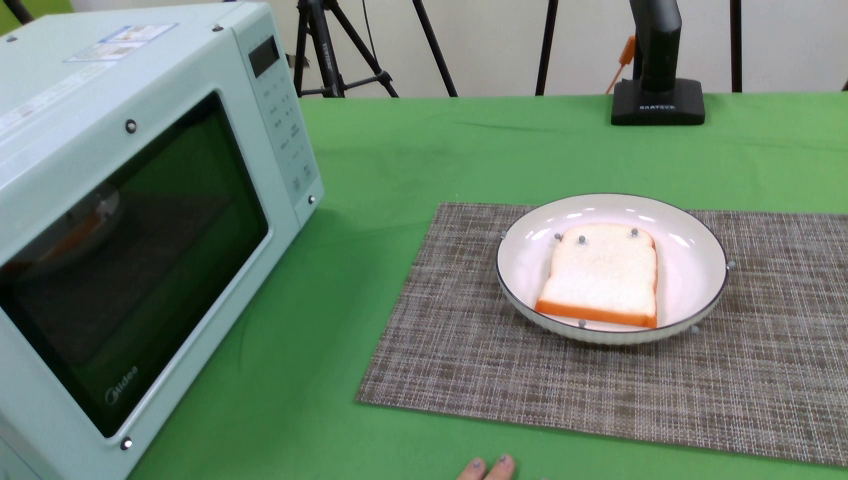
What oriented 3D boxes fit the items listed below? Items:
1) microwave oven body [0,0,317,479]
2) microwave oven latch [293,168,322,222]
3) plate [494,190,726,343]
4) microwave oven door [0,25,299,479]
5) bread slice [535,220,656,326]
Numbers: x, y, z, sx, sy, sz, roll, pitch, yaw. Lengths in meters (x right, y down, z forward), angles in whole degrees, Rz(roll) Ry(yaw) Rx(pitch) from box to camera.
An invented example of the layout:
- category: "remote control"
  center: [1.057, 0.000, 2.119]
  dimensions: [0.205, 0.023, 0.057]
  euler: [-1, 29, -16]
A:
- category: "microwave oven body"
  center: [-0.352, -0.028, 0.586]
  dimensions: [0.325, 0.263, 0.438]
  euler: [4, 40, 17]
- category: "microwave oven latch"
  center: [-0.150, -0.055, 0.733]
  dimensions: [0.030, 0.030, 0.078]
  euler: [5, 41, 17]
- category: "plate"
  center: [0.172, 0.024, 0.581]
  dimensions: [0.209, 0.038, 0.207]
  euler: [-6, 38, 5]
- category: "microwave oven door"
  center: [-0.225, 0.001, 0.510]
  dimensions: [0.039, 0.246, 0.353]
  euler: [3, 39, 17]
- category: "bread slice"
  center: [0.169, 0.026, 0.583]
  dimensions: [0.104, 0.019, 0.130]
  euler: [5, 41, 18]
